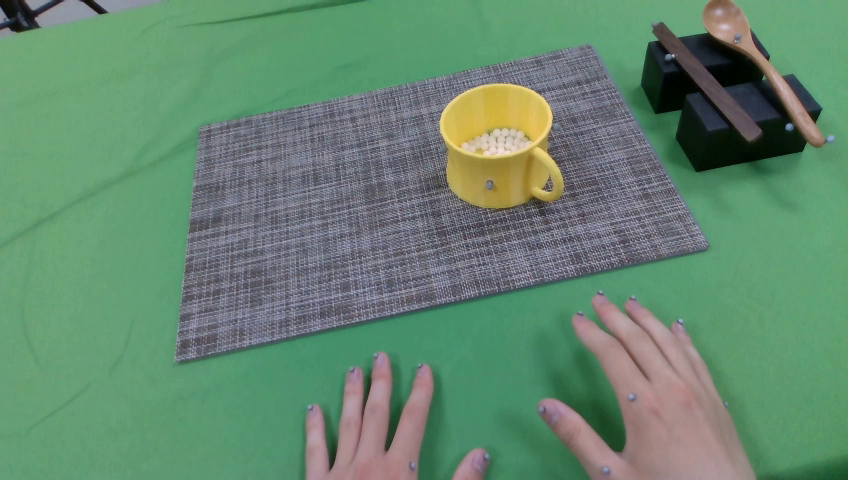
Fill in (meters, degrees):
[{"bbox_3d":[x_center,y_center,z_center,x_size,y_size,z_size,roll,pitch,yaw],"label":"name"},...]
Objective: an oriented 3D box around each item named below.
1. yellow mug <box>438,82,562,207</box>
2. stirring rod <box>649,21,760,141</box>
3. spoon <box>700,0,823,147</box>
[{"bbox_3d":[0.076,-0.080,0.550,0.100,0.064,0.129,-38,57,-19],"label":"yellow mug"},{"bbox_3d":[0.250,-0.149,0.550,0.014,0.006,0.174,-40,46,26],"label":"stirring rod"},{"bbox_3d":[0.301,-0.156,0.543,0.041,0.022,0.191,-11,53,-2],"label":"spoon"}]
